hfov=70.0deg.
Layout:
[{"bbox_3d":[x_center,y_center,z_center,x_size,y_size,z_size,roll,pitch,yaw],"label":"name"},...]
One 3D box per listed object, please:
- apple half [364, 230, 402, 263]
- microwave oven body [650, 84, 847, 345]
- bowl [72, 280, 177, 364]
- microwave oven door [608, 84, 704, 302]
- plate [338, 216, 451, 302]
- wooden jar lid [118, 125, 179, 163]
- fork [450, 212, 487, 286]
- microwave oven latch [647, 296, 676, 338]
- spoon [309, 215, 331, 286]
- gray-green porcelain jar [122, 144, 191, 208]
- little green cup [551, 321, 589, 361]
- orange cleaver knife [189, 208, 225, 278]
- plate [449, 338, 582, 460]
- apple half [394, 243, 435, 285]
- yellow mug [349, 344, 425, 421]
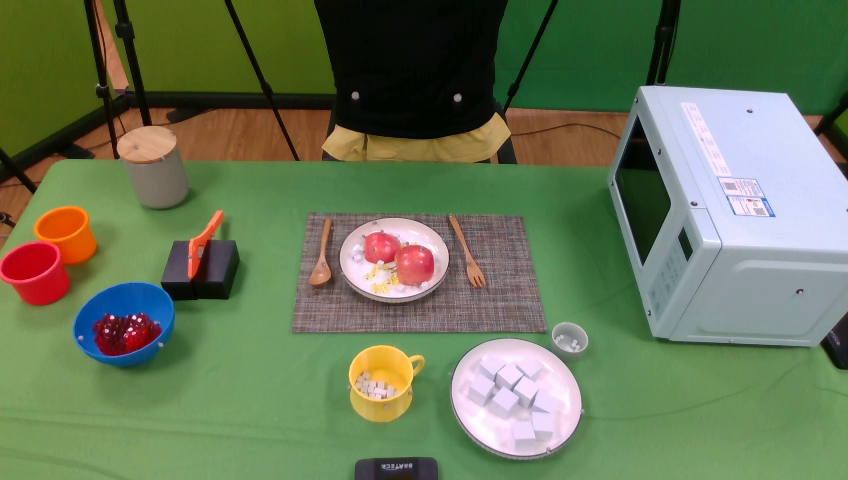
[{"bbox_3d":[-0.079,0.005,1.159,0.081,0.033,0.081,3,49,-3],"label":"apple half"},{"bbox_3d":[0.569,-0.054,1.116,0.326,0.261,0.439,2,46,-1],"label":"microwave oven body"},{"bbox_3d":[-0.472,0.147,0.982,0.151,0.077,0.150,2,46,-2],"label":"bowl"},{"bbox_3d":[0.424,-0.096,1.138,0.039,0.245,0.353,3,46,-1],"label":"microwave oven door"},{"bbox_3d":[-0.054,0.038,1.138,0.209,0.038,0.208,2,46,-2],"label":"plate"},{"bbox_3d":[-0.528,-0.181,1.167,0.108,0.021,0.107,4,48,-4],"label":"wooden jar lid"},{"bbox_3d":[0.082,0.014,1.183,0.028,0.019,0.206,-18,50,-2],"label":"fork"},{"bbox_3d":[0.413,0.133,1.060,0.030,0.029,0.078,4,46,1],"label":"microwave oven latch"},{"bbox_3d":[-0.191,0.016,1.159,0.041,0.022,0.192,-13,46,12],"label":"spoon"},{"bbox_3d":[-0.531,-0.137,1.214,0.106,0.127,0.105,2,47,-2],"label":"gray-green porcelain jar"},{"bbox_3d":[0.247,0.175,1.033,0.061,0.039,0.061,2,45,-2],"label":"little green cup"},{"bbox_3d":[-0.401,0.002,1.122,0.012,0.077,0.210,5,23,-4],"label":"orange cleaver knife"},{"bbox_3d":[0.141,0.251,0.955,0.208,0.039,0.206,2,47,-2],"label":"plate"},{"bbox_3d":[-0.016,0.037,1.120,0.075,0.053,0.080,1,46,-6],"label":"apple half"},{"bbox_3d":[-0.054,0.217,0.954,0.131,0.064,0.099,-24,53,-25],"label":"yellow mug"}]
